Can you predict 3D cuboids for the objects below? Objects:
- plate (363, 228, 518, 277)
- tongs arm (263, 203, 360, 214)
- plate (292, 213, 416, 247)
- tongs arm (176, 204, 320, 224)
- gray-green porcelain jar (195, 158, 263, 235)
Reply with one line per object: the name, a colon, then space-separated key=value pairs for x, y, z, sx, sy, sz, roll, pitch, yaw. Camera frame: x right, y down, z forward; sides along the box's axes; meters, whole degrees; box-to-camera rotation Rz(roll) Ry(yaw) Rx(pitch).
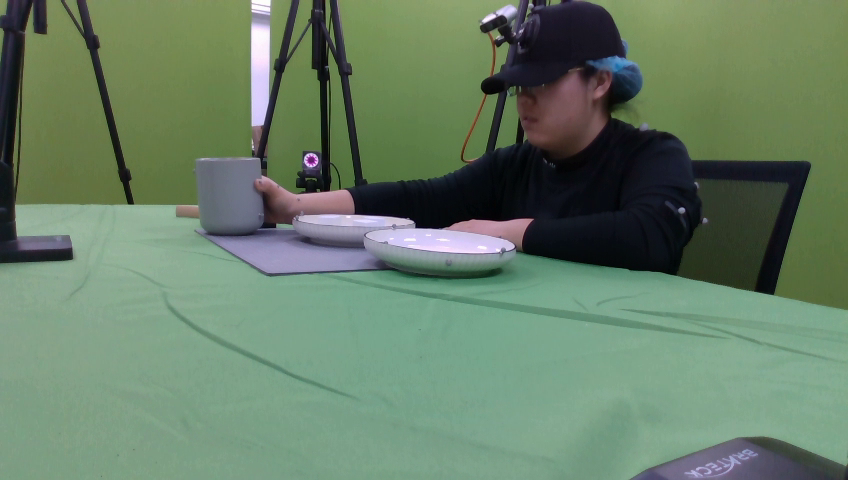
plate: x=0.021 y=0.016 z=0.817 sx=0.209 sy=0.038 sz=0.209 roll=4 pitch=9 yaw=0
tongs arm: x=-0.313 y=-0.064 z=1.352 sx=0.384 sy=0.026 sz=0.051 roll=6 pitch=8 yaw=17
plate: x=-0.118 y=-0.017 z=1.024 sx=0.208 sy=0.039 sz=0.207 roll=2 pitch=8 yaw=0
tongs arm: x=-0.333 y=-0.052 z=1.273 sx=0.387 sy=0.028 sz=0.028 roll=4 pitch=5 yaw=4
gray-green porcelain jar: x=-0.330 y=-0.076 z=1.033 sx=0.106 sy=0.126 sz=0.106 roll=-1 pitch=10 yaw=0
